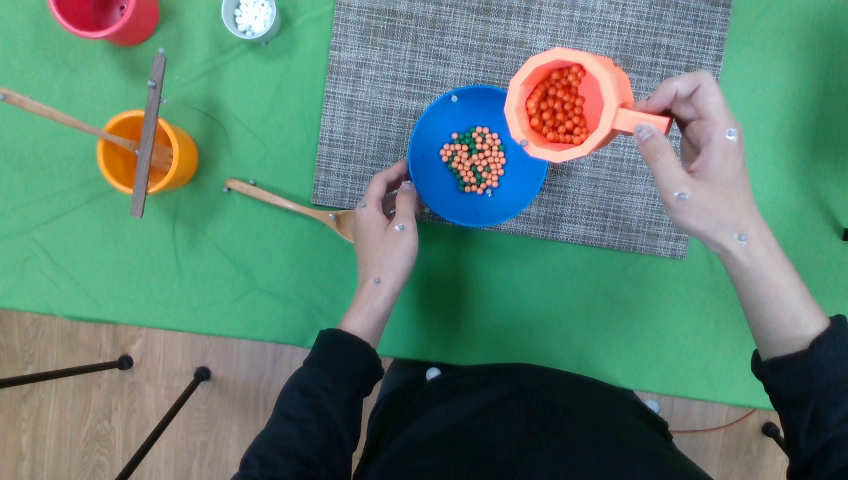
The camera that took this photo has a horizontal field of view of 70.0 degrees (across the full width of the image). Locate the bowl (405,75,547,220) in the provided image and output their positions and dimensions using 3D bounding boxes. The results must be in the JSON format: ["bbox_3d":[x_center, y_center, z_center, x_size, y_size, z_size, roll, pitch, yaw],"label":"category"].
[{"bbox_3d":[0.056,-0.099,0.676,0.151,0.076,0.151,0,96,2],"label":"bowl"}]

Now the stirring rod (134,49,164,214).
[{"bbox_3d":[-0.295,-0.115,0.649,0.014,0.006,0.176,9,96,2],"label":"stirring rod"}]

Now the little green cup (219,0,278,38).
[{"bbox_3d":[-0.197,-0.261,0.689,0.061,0.038,0.061,0,96,3],"label":"little green cup"}]

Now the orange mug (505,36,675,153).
[{"bbox_3d":[0.138,-0.115,0.494,0.125,0.101,0.084,20,111,24],"label":"orange mug"}]

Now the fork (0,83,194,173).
[{"bbox_3d":[-0.349,-0.119,0.653,0.209,0.018,0.028,22,100,-44],"label":"fork"}]

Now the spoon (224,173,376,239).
[{"bbox_3d":[-0.148,-0.046,0.718,0.194,0.021,0.042,19,111,-1],"label":"spoon"}]
